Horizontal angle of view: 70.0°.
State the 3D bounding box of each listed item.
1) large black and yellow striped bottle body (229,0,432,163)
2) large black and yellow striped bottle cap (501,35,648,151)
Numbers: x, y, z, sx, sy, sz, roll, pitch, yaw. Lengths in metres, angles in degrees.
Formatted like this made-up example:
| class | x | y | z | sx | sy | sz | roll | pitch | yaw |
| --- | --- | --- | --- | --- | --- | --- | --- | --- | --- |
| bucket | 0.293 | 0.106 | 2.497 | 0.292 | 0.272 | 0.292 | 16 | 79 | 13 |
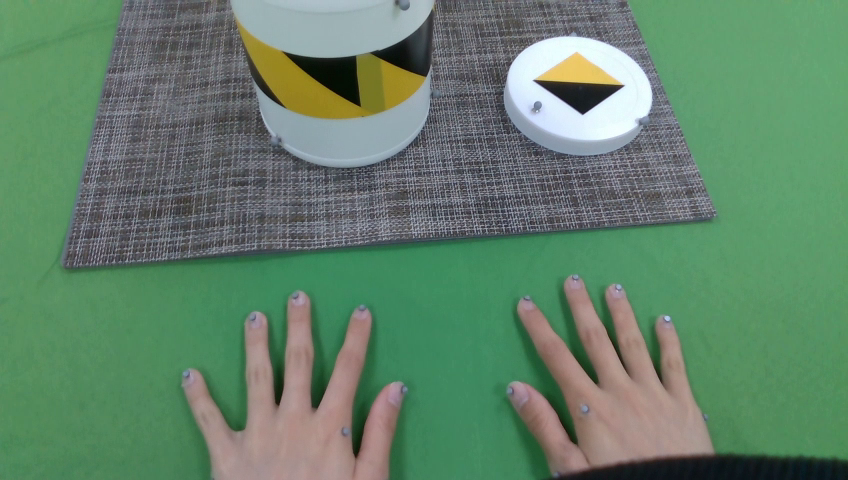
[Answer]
| class | x | y | z | sx | sy | sz | roll | pitch | yaw |
| --- | --- | --- | --- | --- | --- | --- | --- | --- | --- |
| large black and yellow striped bottle body | -0.059 | -0.155 | 0.398 | 0.131 | 0.185 | 0.129 | 1 | 59 | -2 |
| large black and yellow striped bottle cap | 0.119 | -0.119 | 0.482 | 0.115 | 0.019 | 0.114 | 2 | 58 | -2 |
